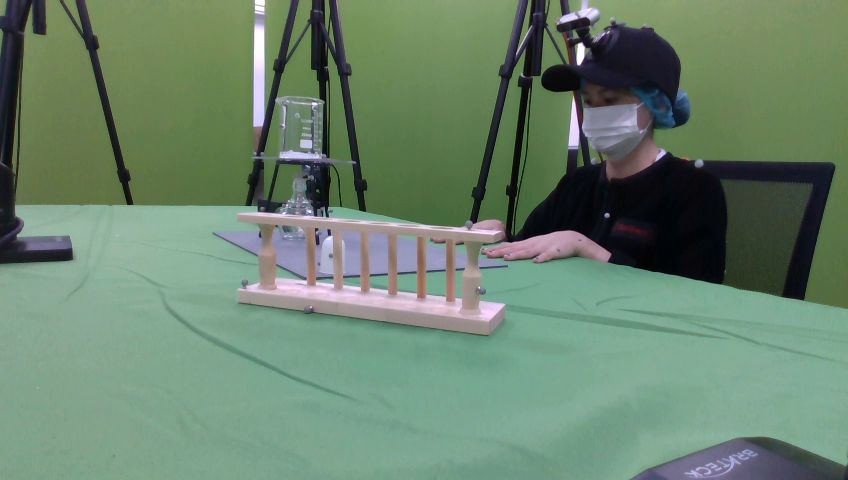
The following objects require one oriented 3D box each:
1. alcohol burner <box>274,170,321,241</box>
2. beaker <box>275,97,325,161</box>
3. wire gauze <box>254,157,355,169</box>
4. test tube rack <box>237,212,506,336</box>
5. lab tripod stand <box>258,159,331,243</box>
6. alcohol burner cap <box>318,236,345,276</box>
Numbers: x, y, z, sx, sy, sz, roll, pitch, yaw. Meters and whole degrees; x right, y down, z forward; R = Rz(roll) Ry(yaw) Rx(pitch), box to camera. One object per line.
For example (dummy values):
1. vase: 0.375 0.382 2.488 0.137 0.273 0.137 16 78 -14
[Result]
1. alcohol burner: -0.212 -0.058 1.015 0.078 0.119 0.078 4 5 0
2. beaker: -0.204 -0.179 0.989 0.084 0.100 0.073 -2 8 -40
3. wire gauze: -0.197 -0.131 0.999 0.121 0.011 0.125 7 4 21
4. test tube rack: -0.049 0.024 0.552 0.242 0.085 0.067 5 8 18
5. lab tripod stand: -0.202 -0.067 1.010 0.148 0.131 0.148 2 5 0
6. alcohol burner cap: -0.110 0.019 0.723 0.034 0.048 0.034 3 6 0
